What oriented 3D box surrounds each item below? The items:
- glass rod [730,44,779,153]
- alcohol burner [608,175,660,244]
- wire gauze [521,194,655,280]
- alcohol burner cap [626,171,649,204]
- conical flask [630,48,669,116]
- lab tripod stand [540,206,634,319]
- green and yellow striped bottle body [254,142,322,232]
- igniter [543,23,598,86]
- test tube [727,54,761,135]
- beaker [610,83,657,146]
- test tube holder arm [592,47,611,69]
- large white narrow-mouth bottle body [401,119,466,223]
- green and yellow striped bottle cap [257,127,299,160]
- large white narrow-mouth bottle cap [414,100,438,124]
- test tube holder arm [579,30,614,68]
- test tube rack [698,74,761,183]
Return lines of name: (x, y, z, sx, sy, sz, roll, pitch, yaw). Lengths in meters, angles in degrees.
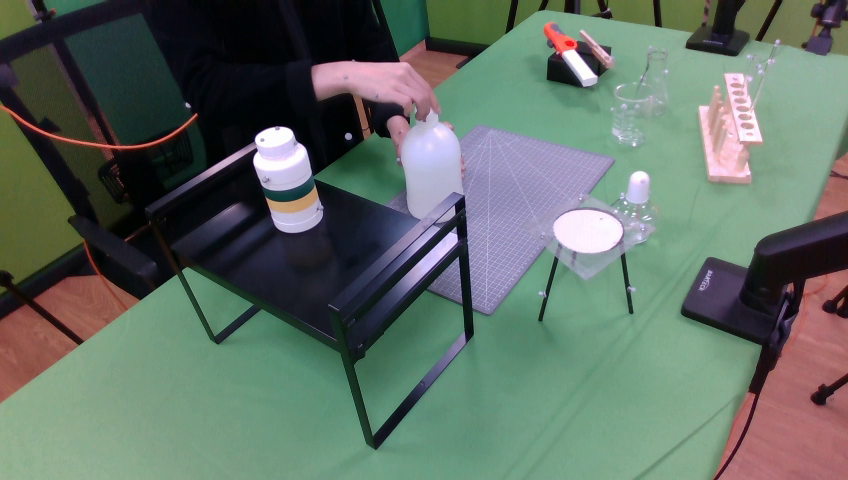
glass rod: (0.555, -0.234, 1.021, 0.008, 0.200, 0.008, 2, 40, -1)
alcohol burner: (0.322, -0.053, 0.924, 0.078, 0.119, 0.077, -4, 43, 4)
wire gauze: (0.207, -0.012, 0.772, 0.122, 0.011, 0.124, -28, 44, -20)
alcohol burner cap: (0.320, -0.081, 0.900, 0.034, 0.048, 0.033, -4, 42, 4)
conical flask: (0.457, -0.317, 1.205, 0.075, 0.122, 0.075, -4, 41, 4)
lab tripod stand: (0.217, 0.034, 0.821, 0.148, 0.132, 0.147, -4, 42, 4)
green and yellow striped bottle body: (-0.166, -0.073, 0.732, 0.063, 0.120, 0.063, -4, 41, 4)
igniter: (0.320, -0.419, 1.345, 0.057, 0.025, 0.274, -12, 44, -3)
test tube: (0.564, -0.254, 1.069, 0.017, 0.151, 0.017, -1, 40, 1)
beaker: (0.388, -0.235, 1.138, 0.074, 0.101, 0.083, -31, 45, -25)
test tube holder arm: (0.385, -0.398, 1.317, 0.010, 0.015, 0.087, -10, 41, -2)
large white narrow-mouth bottle body: (0.013, -0.129, 0.991, 0.102, 0.195, 0.101, -5, 39, 4)
green and yellow striped bottle cap: (-0.169, -0.112, 0.698, 0.045, 0.020, 0.045, -5, 40, 5)
large white narrow-mouth bottle cap: (0.003, -0.198, 0.936, 0.038, 0.024, 0.037, -5, 39, 4)
test tube holder arm: (0.384, -0.428, 1.351, 0.013, 0.015, 0.177, -11, 41, -4)
test tube rack: (0.547, -0.208, 1.095, 0.066, 0.085, 0.242, 5, 42, 15)
